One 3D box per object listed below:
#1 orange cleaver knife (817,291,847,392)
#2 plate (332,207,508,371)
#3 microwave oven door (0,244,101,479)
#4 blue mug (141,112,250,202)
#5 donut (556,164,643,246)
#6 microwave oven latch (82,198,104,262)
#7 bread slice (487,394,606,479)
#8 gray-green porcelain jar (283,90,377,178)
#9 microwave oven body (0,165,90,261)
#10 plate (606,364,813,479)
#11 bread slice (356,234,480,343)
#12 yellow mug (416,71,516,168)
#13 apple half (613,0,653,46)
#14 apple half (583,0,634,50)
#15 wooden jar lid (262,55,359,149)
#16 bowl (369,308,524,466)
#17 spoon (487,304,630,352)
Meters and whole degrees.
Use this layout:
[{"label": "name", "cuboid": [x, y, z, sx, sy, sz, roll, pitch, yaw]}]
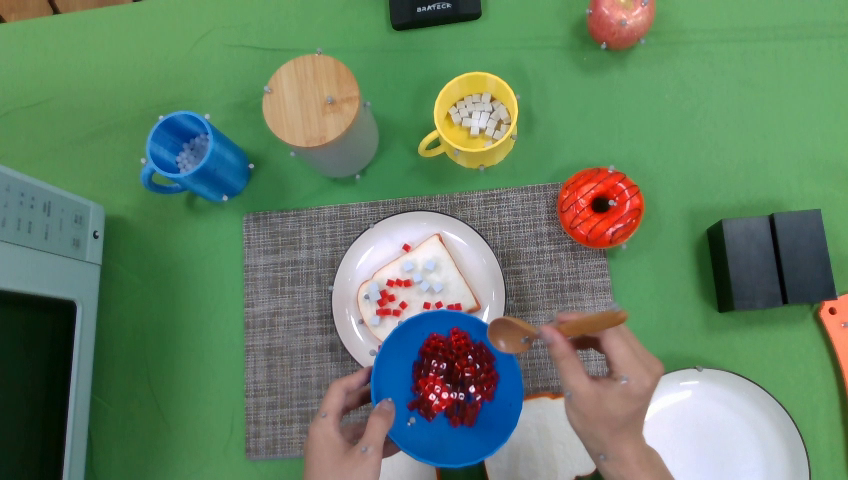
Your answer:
[{"label": "orange cleaver knife", "cuboid": [0.483, 0.153, 0.657, 0.077, 0.012, 0.210, -4, 78, 0]}, {"label": "plate", "cuboid": [-0.004, 0.066, 0.718, 0.207, 0.039, 0.206, -1, 79, 7]}, {"label": "microwave oven door", "cuboid": [-0.439, 0.184, 0.630, 0.039, 0.245, 0.354, -3, 79, 7]}, {"label": "blue mug", "cuboid": [-0.290, -0.091, 0.750, 0.116, 0.106, 0.082, -31, 77, 1]}, {"label": "donut", "cuboid": [0.204, -0.041, 0.709, 0.099, 0.048, 0.098, -1, 80, 6]}, {"label": "microwave oven latch", "cuboid": [-0.428, -0.012, 0.769, 0.030, 0.029, 0.079, 0, 80, 6]}, {"label": "bread slice", "cuboid": [0.131, 0.224, 0.650, 0.135, 0.018, 0.106, -9, 74, -15]}, {"label": "gray-green porcelain jar", "cuboid": [-0.115, -0.137, 0.728, 0.106, 0.127, 0.105, -1, 79, 7]}, {"label": "microwave oven body", "cuboid": [-0.584, 0.149, 0.659, 0.326, 0.261, 0.440, -2, 80, 6]}, {"label": "plate", "cuboid": [0.300, 0.238, 0.653, 0.209, 0.038, 0.208, -1, 79, 7]}, {"label": "bread slice", "cuboid": [-0.014, 0.068, 0.721, 0.131, 0.019, 0.104, -31, 78, -1]}, {"label": "yellow mug", "cuboid": [0.048, -0.138, 0.739, 0.131, 0.064, 0.099, -29, 77, 2]}, {"label": "apple half", "cuboid": [0.245, -0.281, 0.737, 0.053, 0.075, 0.080, -37, 73, -6]}, {"label": "apple half", "cuboid": [0.215, -0.257, 0.734, 0.033, 0.081, 0.081, -38, 77, -6]}, {"label": "wooden jar lid", "cuboid": [-0.123, -0.150, 0.667, 0.108, 0.021, 0.108, -2, 77, 7]}, {"label": "bowl", "cuboid": [0.017, 0.152, 0.607, 0.152, 0.077, 0.150, 5, 65, -10]}, {"label": "spoon", "cuboid": [0.105, 0.075, 0.508, 0.021, 0.193, 0.041, -37, 93, -23]}]
